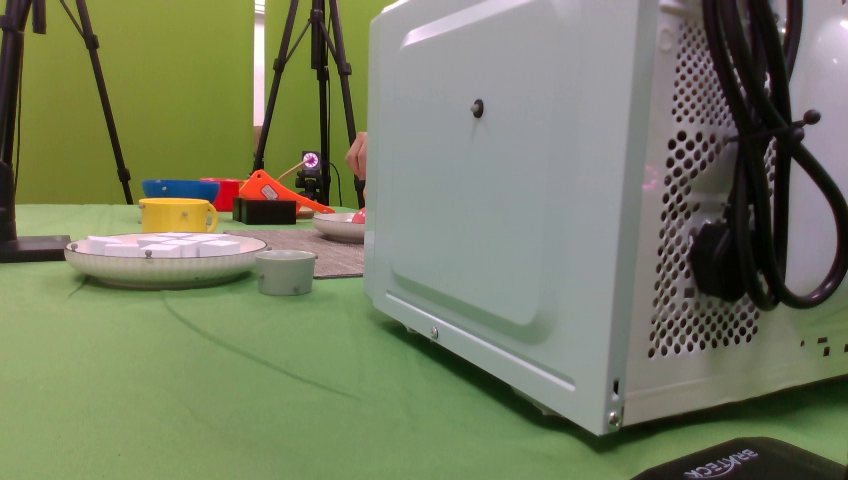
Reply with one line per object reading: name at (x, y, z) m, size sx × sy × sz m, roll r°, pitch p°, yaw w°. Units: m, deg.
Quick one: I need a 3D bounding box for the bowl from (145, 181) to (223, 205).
bowl at (-0.499, -0.081, 1.261) m, size 0.151 × 0.077 × 0.151 m, roll 2°, pitch 8°, yaw 0°

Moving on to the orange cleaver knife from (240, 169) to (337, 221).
orange cleaver knife at (-0.287, -0.081, 1.298) m, size 0.212 × 0.077 × 0.012 m, roll 25°, pitch -3°, yaw -31°

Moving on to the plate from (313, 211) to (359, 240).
plate at (-0.090, -0.026, 1.063) m, size 0.209 × 0.038 × 0.209 m, roll 2°, pitch 7°, yaw 0°

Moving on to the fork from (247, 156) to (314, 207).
fork at (-0.360, -0.147, 1.523) m, size 0.207 × 0.018 × 0.028 m, roll -43°, pitch 16°, yaw -7°

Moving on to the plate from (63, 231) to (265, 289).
plate at (-0.288, 0.021, 0.687) m, size 0.208 × 0.039 × 0.207 m, roll 2°, pitch 8°, yaw 0°

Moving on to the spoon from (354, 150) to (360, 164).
spoon at (-0.108, -0.117, 1.128) m, size 0.021 × 0.042 × 0.193 m, roll -26°, pitch 41°, yaw 5°

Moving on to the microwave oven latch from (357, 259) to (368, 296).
microwave oven latch at (-0.019, 0.031, 0.528) m, size 0.079 × 0.029 × 0.030 m, roll -1°, pitch 7°, yaw -25°

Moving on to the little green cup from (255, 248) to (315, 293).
little green cup at (-0.144, 0.031, 0.627) m, size 0.061 × 0.038 × 0.061 m, roll 2°, pitch 6°, yaw 0°

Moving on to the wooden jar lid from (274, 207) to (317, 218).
wooden jar lid at (-0.303, -0.065, 1.409) m, size 0.108 × 0.020 × 0.108 m, roll 3°, pitch 9°, yaw 0°

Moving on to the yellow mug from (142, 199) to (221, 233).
yellow mug at (-0.372, -0.030, 0.948) m, size 0.099 × 0.064 × 0.131 m, roll 6°, pitch 7°, yaw 30°

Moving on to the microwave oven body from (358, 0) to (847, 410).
microwave oven body at (0.210, -0.051, 0.471) m, size 0.444 × 0.260 × 0.324 m, roll -1°, pitch 7°, yaw -28°

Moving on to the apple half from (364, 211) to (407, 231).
apple half at (-0.068, -0.037, 1.103) m, size 0.081 × 0.033 × 0.081 m, roll -1°, pitch 9°, yaw 1°

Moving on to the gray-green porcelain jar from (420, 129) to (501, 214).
gray-green porcelain jar at (0.070, -0.119, 1.093) m, size 0.106 × 0.127 × 0.105 m, roll -33°, pitch 18°, yaw 12°

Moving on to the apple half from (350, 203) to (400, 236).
apple half at (-0.081, -0.036, 1.024) m, size 0.081 × 0.053 × 0.074 m, roll -2°, pitch 11°, yaw -33°

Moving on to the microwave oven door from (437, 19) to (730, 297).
microwave oven door at (0.181, -0.076, 0.618) m, size 0.358 × 0.243 × 0.039 m, roll -2°, pitch 9°, yaw -28°
